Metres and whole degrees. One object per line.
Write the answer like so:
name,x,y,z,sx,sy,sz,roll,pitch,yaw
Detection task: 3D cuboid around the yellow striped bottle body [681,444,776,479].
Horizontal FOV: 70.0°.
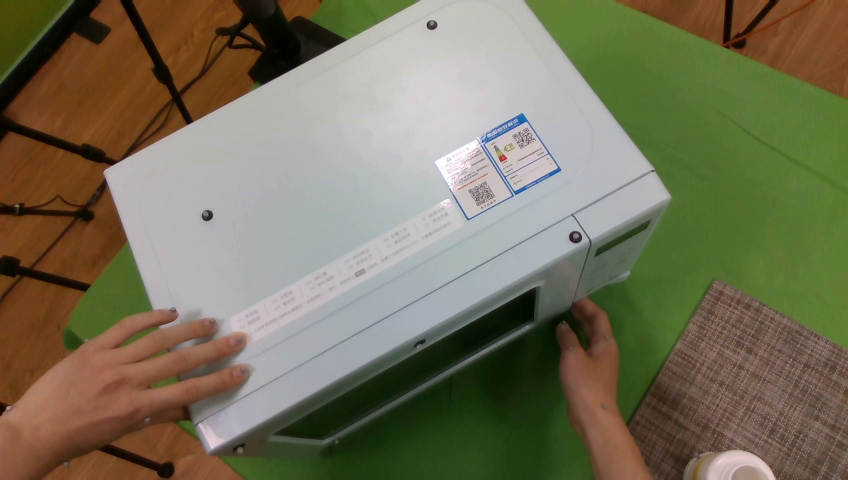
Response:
yellow striped bottle body,0.297,0.232,0.590,0.063,0.121,0.062,-3,70,8

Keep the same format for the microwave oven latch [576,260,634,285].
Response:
microwave oven latch,0.201,0.032,0.705,0.079,0.030,0.030,-14,70,4

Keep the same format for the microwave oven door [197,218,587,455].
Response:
microwave oven door,-0.008,0.111,0.601,0.356,0.245,0.039,-29,68,-2

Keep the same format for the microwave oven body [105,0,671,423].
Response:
microwave oven body,-0.038,-0.027,0.659,0.442,0.262,0.323,-29,70,-1
